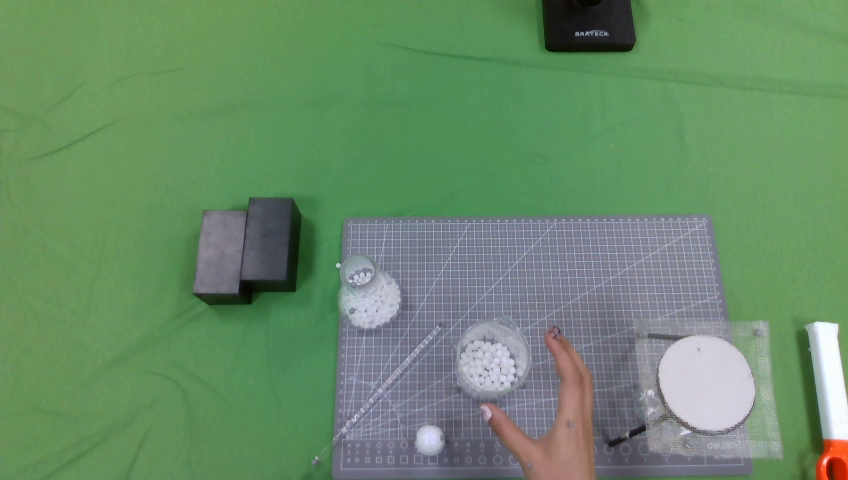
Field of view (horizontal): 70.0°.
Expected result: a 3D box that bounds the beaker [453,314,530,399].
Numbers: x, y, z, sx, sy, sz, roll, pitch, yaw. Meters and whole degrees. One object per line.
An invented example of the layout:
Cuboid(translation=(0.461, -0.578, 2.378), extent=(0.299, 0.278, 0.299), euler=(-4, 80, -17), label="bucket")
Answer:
Cuboid(translation=(0.068, 0.125, 0.638), extent=(0.074, 0.101, 0.083), euler=(22, 71, 7), label="beaker")

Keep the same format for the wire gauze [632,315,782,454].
Cuboid(translation=(0.255, 0.128, 0.547), extent=(0.125, 0.011, 0.120), euler=(2, 72, 1), label="wire gauze")

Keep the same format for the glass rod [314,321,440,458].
Cuboid(translation=(-0.049, 0.163, 0.672), extent=(0.008, 0.008, 0.199), euler=(41, 76, 13), label="glass rod")

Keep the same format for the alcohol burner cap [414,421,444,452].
Cuboid(translation=(0.005, 0.207, 0.640), extent=(0.034, 0.048, 0.033), euler=(0, 71, 1), label="alcohol burner cap")

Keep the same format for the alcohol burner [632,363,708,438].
Cuboid(translation=(0.256, 0.162, 0.618), extent=(0.078, 0.120, 0.077), euler=(-1, 71, 3), label="alcohol burner")

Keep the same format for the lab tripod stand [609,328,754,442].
Cuboid(translation=(0.255, 0.152, 0.611), extent=(0.148, 0.132, 0.147), euler=(0, 73, 0), label="lab tripod stand")

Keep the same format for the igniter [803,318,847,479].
Cuboid(translation=(0.440, 0.221, 0.646), extent=(0.057, 0.025, 0.275), euler=(7, 71, -9), label="igniter")

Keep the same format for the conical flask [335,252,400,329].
Cuboid(translation=(-0.066, 0.048, 0.652), extent=(0.075, 0.122, 0.075), euler=(0, 70, 0), label="conical flask")
